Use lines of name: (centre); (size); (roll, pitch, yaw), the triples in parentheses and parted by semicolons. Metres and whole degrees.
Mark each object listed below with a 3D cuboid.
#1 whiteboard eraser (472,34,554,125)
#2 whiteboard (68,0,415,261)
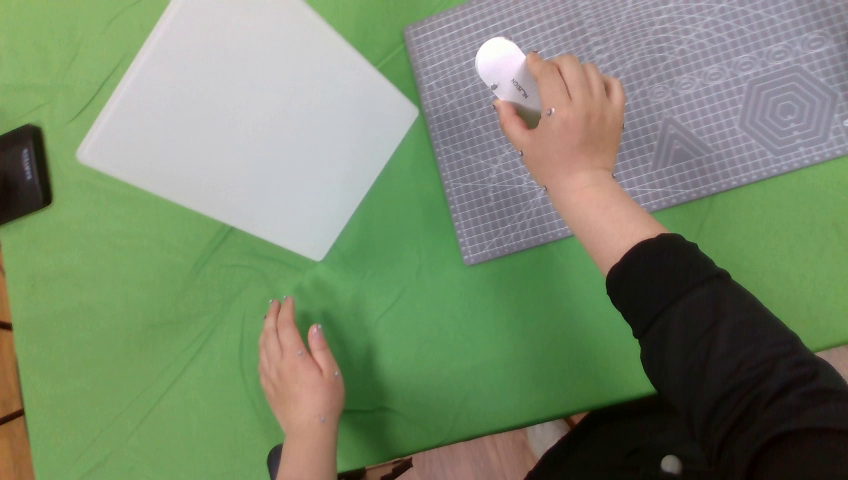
whiteboard eraser: (0.082, -0.145, 0.553); (0.041, 0.102, 0.018); (-41, 37, 14)
whiteboard: (-0.190, -0.141, 0.633); (0.142, 0.308, 0.217); (36, 94, 35)
